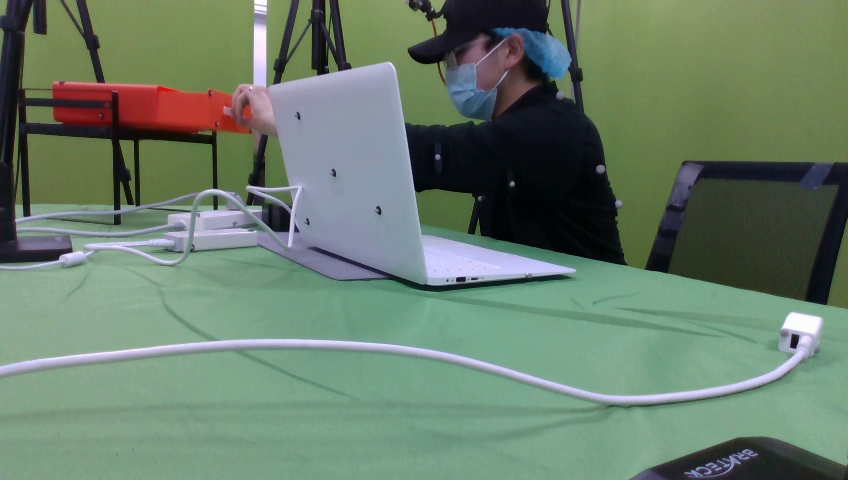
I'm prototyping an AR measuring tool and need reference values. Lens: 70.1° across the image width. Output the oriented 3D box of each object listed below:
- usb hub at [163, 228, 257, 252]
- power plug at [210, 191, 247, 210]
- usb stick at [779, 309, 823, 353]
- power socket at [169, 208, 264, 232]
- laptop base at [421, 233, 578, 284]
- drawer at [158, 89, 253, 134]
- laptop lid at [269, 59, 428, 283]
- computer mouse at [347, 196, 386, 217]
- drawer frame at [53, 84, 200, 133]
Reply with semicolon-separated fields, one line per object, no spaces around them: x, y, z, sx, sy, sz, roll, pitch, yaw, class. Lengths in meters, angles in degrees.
-0.314;-0.001;0.894;0.049;0.025;0.126;9;10;41;usb hub
-0.386;-0.071;1.204;0.072;0.052;0.035;8;10;25;power plug
0.311;0.072;0.496;0.027;0.021;0.059;8;15;34;usb stick
-0.380;-0.038;1.128;0.072;0.032;0.227;4;8;17;power socket
0.007;0.021;0.850;0.237;0.023;0.352;1;7;-34;laptop base
-0.477;-0.256;1.209;0.211;0.073;0.194;3;8;8;drawer
-0.110;-0.087;0.752;0.013;0.241;0.355;-18;19;-30;laptop lid
-0.119;-0.068;1.233;0.063;0.041;0.117;-4;3;-17;computer mouse
-0.578;-0.263;1.218;0.213;0.082;0.202;3;8;5;drawer frame
